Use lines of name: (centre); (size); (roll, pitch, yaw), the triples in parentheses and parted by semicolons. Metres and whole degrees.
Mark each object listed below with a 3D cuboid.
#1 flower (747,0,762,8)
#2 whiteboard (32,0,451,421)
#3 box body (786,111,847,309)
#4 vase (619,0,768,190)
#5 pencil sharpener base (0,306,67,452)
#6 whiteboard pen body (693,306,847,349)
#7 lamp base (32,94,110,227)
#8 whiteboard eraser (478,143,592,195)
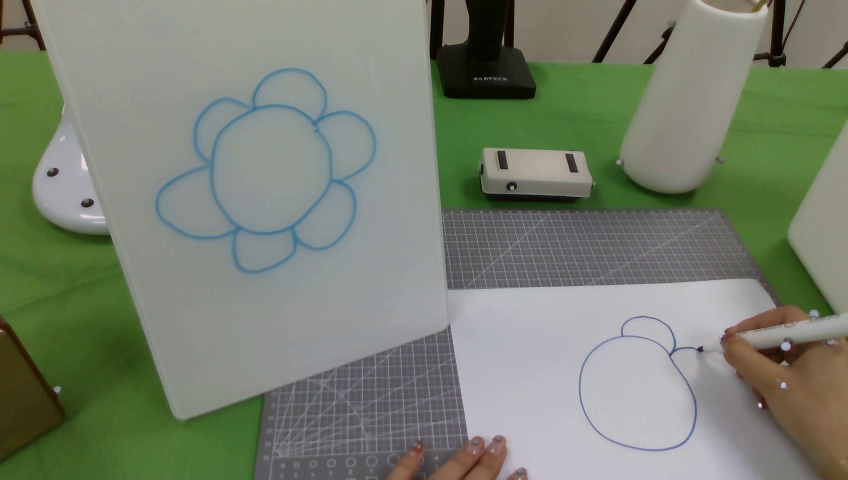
flower: (0.287, -0.198, 0.548); (0.044, 0.363, 0.038); (-21, 68, -33)
whiteboard: (-0.115, -0.062, 0.450); (0.218, 0.308, 0.142); (-15, 29, -19)
box body: (0.491, 0.051, 0.459); (0.254, 0.162, 0.360); (0, 44, -5)
vase: (0.270, -0.149, 0.614); (0.098, 0.201, 0.097); (4, 44, -3)
pencil sharpener base: (-0.292, 0.078, 0.388); (0.076, 0.108, 0.061); (34, 51, 26)
whiteboard pen body: (0.256, 0.067, 0.446); (0.017, 0.140, 0.017); (8, 70, -24)
lamp base: (-0.299, -0.129, 0.547); (0.178, 0.182, 0.160); (28, 48, 25)
whiteboard eraser: (0.115, -0.073, 0.633); (0.113, 0.042, 0.055); (0, 42, -4)
